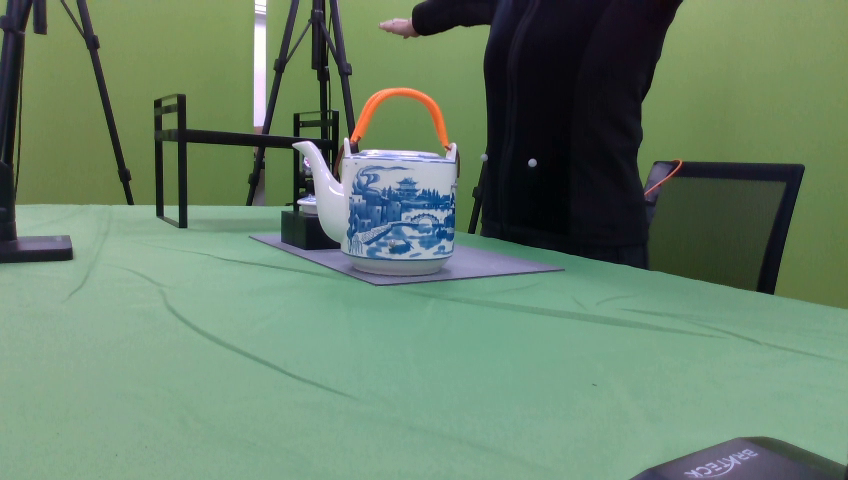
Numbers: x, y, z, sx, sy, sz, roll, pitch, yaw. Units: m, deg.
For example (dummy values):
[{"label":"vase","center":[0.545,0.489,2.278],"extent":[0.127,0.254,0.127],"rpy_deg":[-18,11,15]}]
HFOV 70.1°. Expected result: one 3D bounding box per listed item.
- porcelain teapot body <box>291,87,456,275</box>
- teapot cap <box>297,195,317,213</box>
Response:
[{"label":"porcelain teapot body","center":[-0.061,-0.076,0.754],"extent":[0.206,0.225,0.145],"rpy_deg":[0,8,-12]},{"label":"teapot cap","center":[-0.158,-0.065,0.951],"extent":[0.085,0.044,0.085],"rpy_deg":[0,9,0]}]
